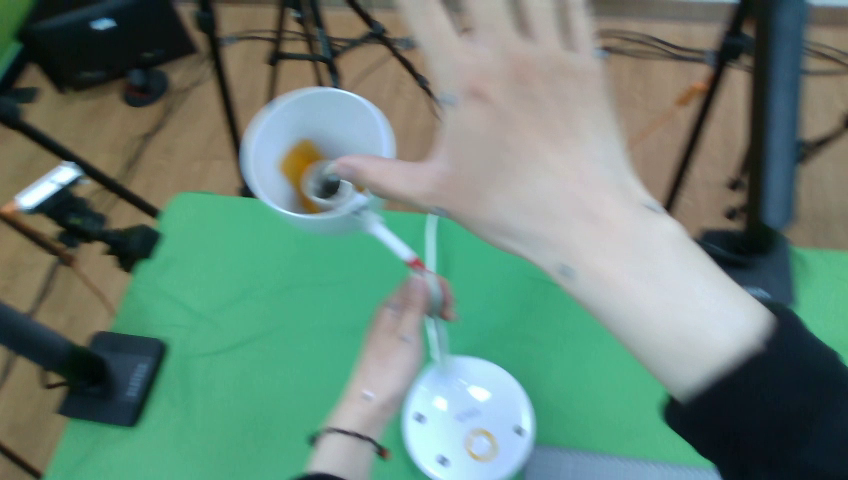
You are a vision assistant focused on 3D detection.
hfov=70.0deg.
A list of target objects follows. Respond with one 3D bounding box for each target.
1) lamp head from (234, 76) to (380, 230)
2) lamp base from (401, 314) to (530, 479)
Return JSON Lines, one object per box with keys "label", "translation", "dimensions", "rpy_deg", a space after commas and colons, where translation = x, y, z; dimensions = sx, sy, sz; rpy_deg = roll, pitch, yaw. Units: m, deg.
{"label": "lamp head", "translation": [-0.084, -0.056, 0.510], "dimensions": [0.112, 0.124, 0.111], "rpy_deg": [-2, 69, 4]}
{"label": "lamp base", "translation": [0.037, 0.167, 0.692], "dimensions": [0.160, 0.182, 0.177], "rpy_deg": [-31, 60, -11]}
